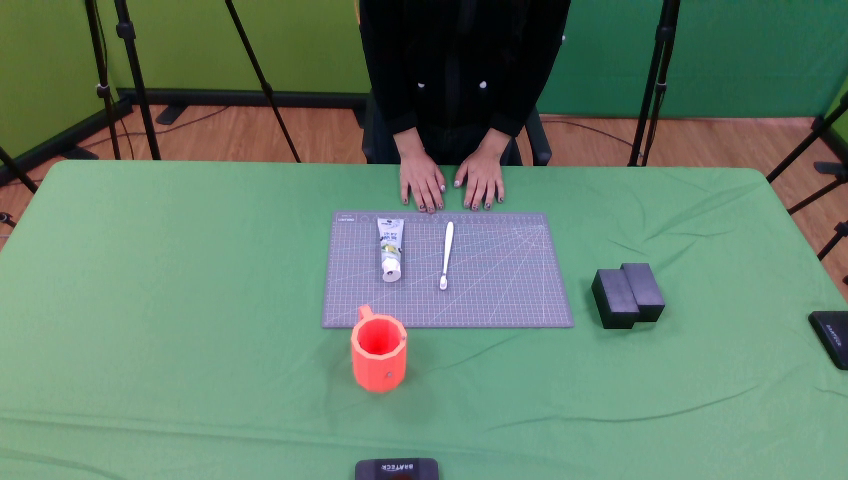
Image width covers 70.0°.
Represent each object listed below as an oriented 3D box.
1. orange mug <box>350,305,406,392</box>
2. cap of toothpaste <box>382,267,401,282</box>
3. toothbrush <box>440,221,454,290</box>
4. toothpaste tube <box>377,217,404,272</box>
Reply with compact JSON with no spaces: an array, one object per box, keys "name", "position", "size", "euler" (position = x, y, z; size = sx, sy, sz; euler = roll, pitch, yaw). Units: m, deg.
[{"name":"orange mug","position":[-0.080,0.168,0.978],"size":[0.083,0.101,0.125],"euler":[-16,54,-18]},{"name":"cap of toothpaste","position":[-0.060,0.063,1.119],"size":[0.037,0.037,0.011],"euler":[-9,50,-12]},{"name":"toothbrush","position":[0.044,0.025,1.177],"size":[0.014,0.017,0.181],"euler":[-4,43,13]},{"name":"toothpaste tube","position":[-0.063,0.008,1.179],"size":[0.055,0.034,0.164],"euler":[5,42,-9]}]
